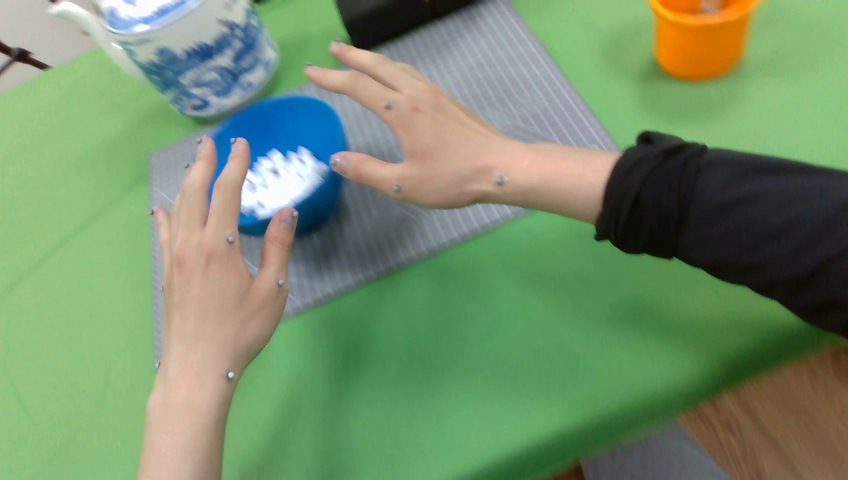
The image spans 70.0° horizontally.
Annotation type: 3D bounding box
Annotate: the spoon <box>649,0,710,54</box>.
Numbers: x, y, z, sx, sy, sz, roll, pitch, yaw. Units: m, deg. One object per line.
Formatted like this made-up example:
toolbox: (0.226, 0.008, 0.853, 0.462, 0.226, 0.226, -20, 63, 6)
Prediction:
spoon: (0.260, -0.241, 0.508, 0.022, 0.194, 0.041, 4, 45, -32)

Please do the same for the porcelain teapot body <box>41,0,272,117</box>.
porcelain teapot body: (-0.302, -0.245, 0.660, 0.205, 0.228, 0.143, -13, 55, 11)

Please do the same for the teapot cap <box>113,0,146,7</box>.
teapot cap: (-0.286, -0.272, 0.623, 0.085, 0.044, 0.084, -10, 57, 16)

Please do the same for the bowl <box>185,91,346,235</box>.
bowl: (-0.133, -0.058, 0.567, 0.151, 0.077, 0.150, -9, 55, 14)
